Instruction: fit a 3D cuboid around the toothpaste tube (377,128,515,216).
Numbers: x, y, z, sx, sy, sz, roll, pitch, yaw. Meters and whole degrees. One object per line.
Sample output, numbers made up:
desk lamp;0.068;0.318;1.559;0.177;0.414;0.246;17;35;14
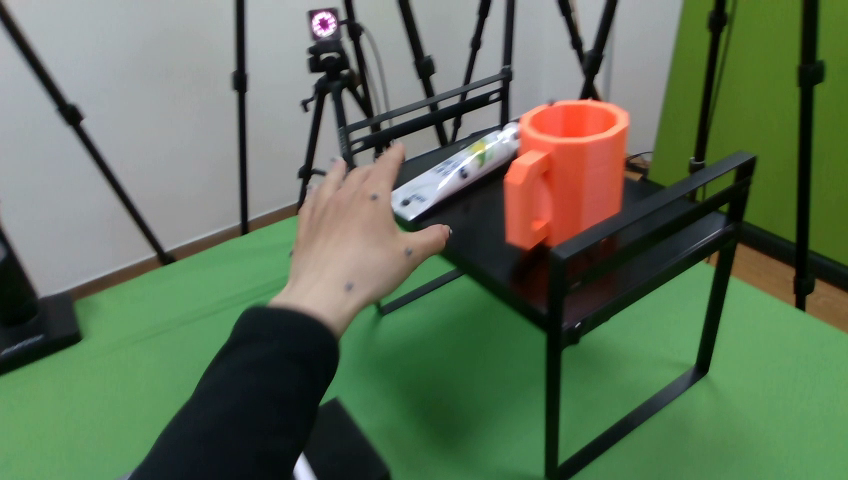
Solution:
toothpaste tube;0.031;-0.073;0.613;0.165;0.035;0.054;-33;37;-27

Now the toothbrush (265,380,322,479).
toothbrush;-0.104;0.177;0.506;0.014;0.017;0.180;-18;35;-22

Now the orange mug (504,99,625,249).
orange mug;0.110;-0.051;0.500;0.083;0.101;0.126;23;40;37

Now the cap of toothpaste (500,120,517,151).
cap of toothpaste;0.092;-0.110;0.647;0.011;0.038;0.037;-33;41;-27
